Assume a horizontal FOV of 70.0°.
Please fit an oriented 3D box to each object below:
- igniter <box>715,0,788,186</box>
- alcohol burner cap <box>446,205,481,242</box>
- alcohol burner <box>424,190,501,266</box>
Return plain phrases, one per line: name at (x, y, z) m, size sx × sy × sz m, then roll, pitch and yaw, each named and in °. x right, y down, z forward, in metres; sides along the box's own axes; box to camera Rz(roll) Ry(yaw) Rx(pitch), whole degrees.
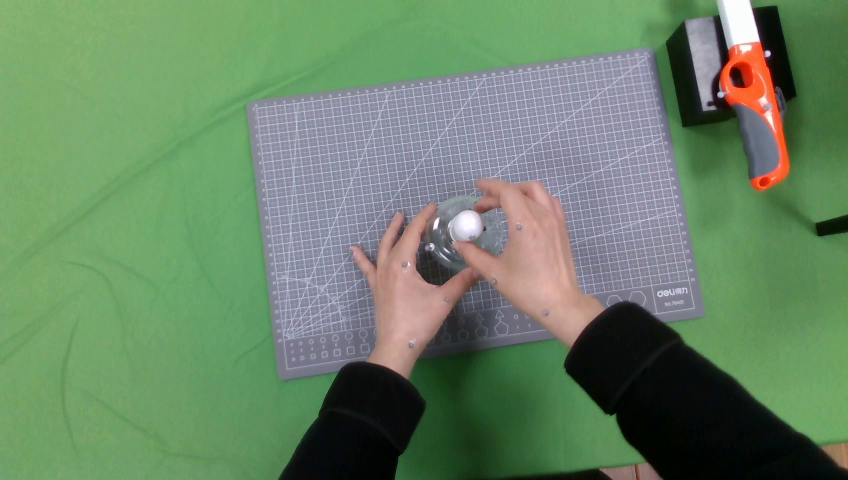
igniter at (0.322, -0.189, 0.611) m, size 0.057 × 0.025 × 0.275 m, roll -7°, pitch 82°, yaw 0°
alcohol burner cap at (0.038, -0.017, 0.557) m, size 0.034 × 0.048 × 0.034 m, roll 0°, pitch 85°, yaw -4°
alcohol burner at (0.038, -0.013, 0.588) m, size 0.078 × 0.119 × 0.077 m, roll 0°, pitch 85°, yaw 0°
